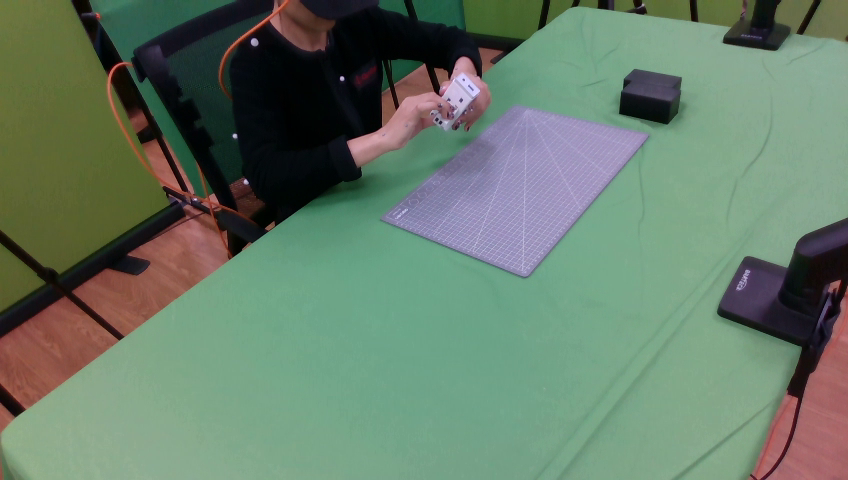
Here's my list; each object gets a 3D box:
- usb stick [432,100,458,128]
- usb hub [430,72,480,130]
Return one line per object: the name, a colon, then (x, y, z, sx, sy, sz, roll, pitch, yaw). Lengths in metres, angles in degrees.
usb stick: (0.042, -0.232, 1.093, 0.027, 0.021, 0.059, 40, 61, 1)
usb hub: (0.055, -0.255, 1.114, 0.049, 0.125, 0.025, 45, 60, -1)
